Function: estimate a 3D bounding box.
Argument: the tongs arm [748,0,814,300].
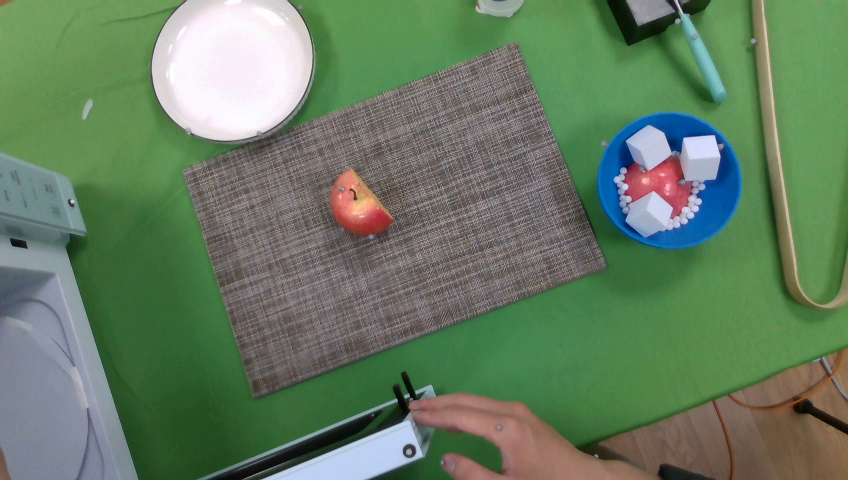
[{"bbox_3d":[0.409,-0.123,0.705,0.028,0.028,0.386,-4,83,1],"label":"tongs arm"}]

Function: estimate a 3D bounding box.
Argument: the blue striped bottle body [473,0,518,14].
[{"bbox_3d":[0.086,-0.322,0.707,0.063,0.121,0.063,-1,83,5],"label":"blue striped bottle body"}]

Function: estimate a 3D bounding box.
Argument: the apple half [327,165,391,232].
[{"bbox_3d":[-0.082,-0.041,0.709,0.053,0.075,0.080,-41,86,4],"label":"apple half"}]

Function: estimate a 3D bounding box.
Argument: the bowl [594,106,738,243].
[{"bbox_3d":[0.263,-0.066,0.686,0.151,0.077,0.151,-1,83,5],"label":"bowl"}]

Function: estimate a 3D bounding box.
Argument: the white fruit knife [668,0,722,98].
[{"bbox_3d":[0.296,-0.258,0.701,0.016,0.027,0.208,-28,99,18],"label":"white fruit knife"}]

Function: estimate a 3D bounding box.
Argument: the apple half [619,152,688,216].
[{"bbox_3d":[0.263,-0.066,0.682,0.081,0.033,0.081,-1,83,6],"label":"apple half"}]

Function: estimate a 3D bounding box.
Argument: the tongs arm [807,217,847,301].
[{"bbox_3d":[0.489,-0.118,0.696,0.050,0.026,0.384,9,85,6],"label":"tongs arm"}]

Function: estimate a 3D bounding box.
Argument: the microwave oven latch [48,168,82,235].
[{"bbox_3d":[-0.449,-0.047,0.741,0.030,0.029,0.079,-22,83,1],"label":"microwave oven latch"}]

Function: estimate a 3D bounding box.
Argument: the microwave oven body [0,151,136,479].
[{"bbox_3d":[-0.528,0.159,0.627,0.326,0.261,0.440,-22,83,1],"label":"microwave oven body"}]

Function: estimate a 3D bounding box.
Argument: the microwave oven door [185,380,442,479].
[{"bbox_3d":[-0.159,0.231,0.586,0.356,0.244,0.039,-23,82,1],"label":"microwave oven door"}]

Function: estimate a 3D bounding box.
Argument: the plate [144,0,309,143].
[{"bbox_3d":[-0.244,-0.220,0.764,0.207,0.039,0.207,0,84,4],"label":"plate"}]
